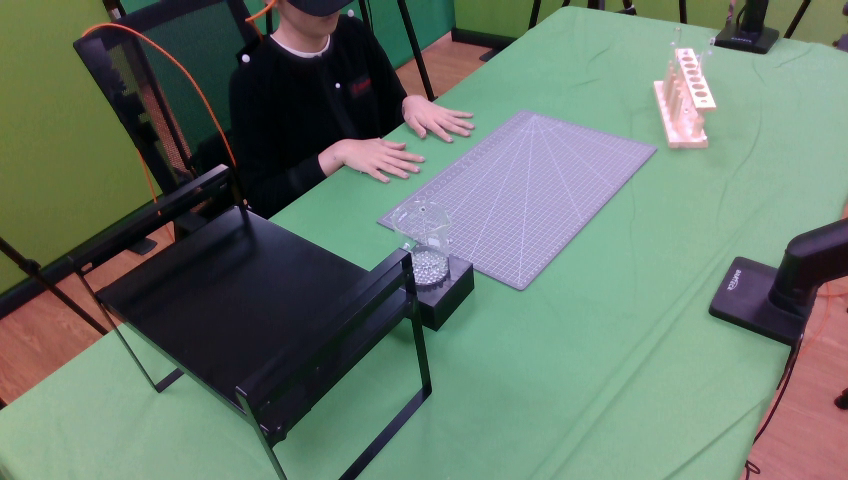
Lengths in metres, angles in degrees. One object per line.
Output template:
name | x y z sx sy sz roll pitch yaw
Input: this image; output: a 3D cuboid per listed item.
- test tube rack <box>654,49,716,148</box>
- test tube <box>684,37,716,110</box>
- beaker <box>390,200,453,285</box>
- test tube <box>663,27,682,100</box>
test tube rack | 0.502 -0.281 1.176 0.066 0.085 0.241 2 41 11
test tube | 0.512 -0.306 1.126 0.017 0.151 0.017 -1 48 2
beaker | 0.002 0.006 0.831 0.084 0.101 0.074 5 42 13
test tube | 0.486 -0.342 1.182 0.017 0.151 0.017 -5 42 5
